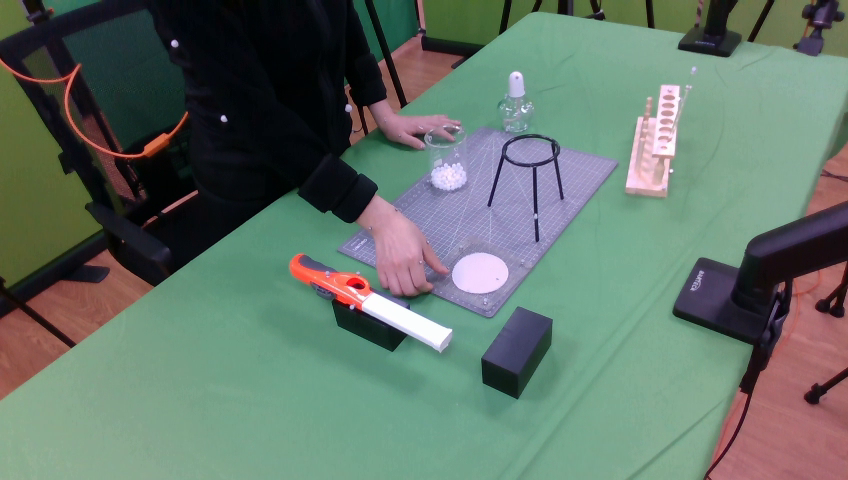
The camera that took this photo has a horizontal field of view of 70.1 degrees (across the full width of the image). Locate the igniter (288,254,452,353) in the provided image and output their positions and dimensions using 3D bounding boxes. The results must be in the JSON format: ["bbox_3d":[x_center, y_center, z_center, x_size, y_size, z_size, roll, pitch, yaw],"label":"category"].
[{"bbox_3d":[-0.083,0.080,0.818,0.274,0.025,0.057,23,46,27],"label":"igniter"}]

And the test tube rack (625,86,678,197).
[{"bbox_3d":[0.412,-0.184,1.088,0.066,0.085,0.242,9,43,18],"label":"test tube rack"}]

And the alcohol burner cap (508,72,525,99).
[{"bbox_3d":[0.181,-0.306,1.186,0.034,0.048,0.033,-7,39,6],"label":"alcohol burner cap"}]

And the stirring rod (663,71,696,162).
[{"bbox_3d":[0.410,-0.195,0.981,0.014,0.177,0.006,13,50,15],"label":"stirring rod"}]

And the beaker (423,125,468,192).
[{"bbox_3d":[0.043,-0.144,1.077,0.073,0.100,0.084,28,51,34],"label":"beaker"}]

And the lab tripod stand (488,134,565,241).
[{"bbox_3d":[0.168,-0.092,0.972,0.148,0.132,0.147,-5,41,5],"label":"lab tripod stand"}]

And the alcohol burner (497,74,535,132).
[{"bbox_3d":[0.184,-0.278,1.209,0.078,0.119,0.077,-3,42,3],"label":"alcohol burner"}]

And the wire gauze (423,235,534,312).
[{"bbox_3d":[0.082,0.049,0.914,0.120,0.011,0.125,26,52,32],"label":"wire gauze"}]
